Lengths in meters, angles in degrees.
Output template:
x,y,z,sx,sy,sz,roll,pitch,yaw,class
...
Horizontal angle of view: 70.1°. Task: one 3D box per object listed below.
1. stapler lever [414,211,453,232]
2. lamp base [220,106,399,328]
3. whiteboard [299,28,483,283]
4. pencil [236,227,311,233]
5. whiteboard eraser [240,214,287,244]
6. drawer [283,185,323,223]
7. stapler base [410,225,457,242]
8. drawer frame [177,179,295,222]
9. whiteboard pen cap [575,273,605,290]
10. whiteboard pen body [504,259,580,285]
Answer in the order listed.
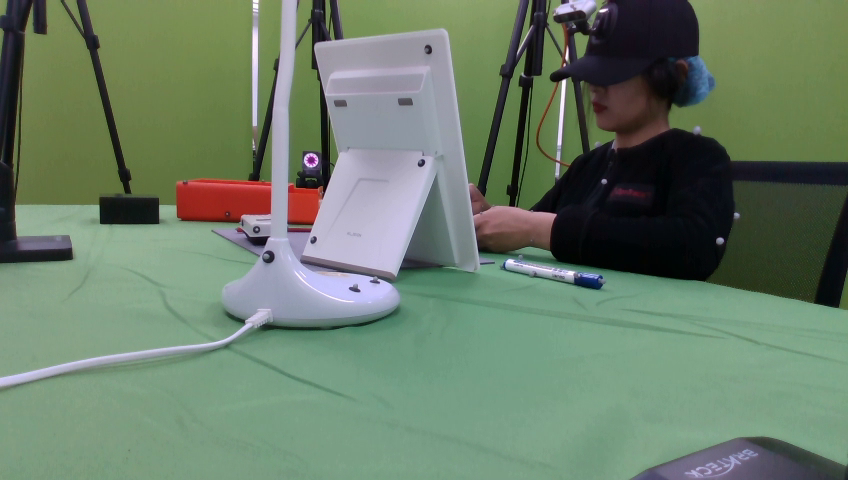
x,y,z,sx,sy,sz,roll,pitch,yaw,class
0.017,-0.038,1.128,0.027,0.040,0.117,1,6,-26,stapler lever
-0.101,-0.023,0.531,0.160,0.180,0.179,4,10,10,lamp base
-0.075,-0.082,0.741,0.216,0.305,0.144,9,30,38,whiteboard
-0.239,-0.017,1.093,0.195,0.012,0.012,1,7,-27,pencil
-0.256,-0.018,0.958,0.056,0.042,0.112,0,8,-25,whiteboard eraser
-0.329,-0.084,1.326,0.212,0.073,0.194,1,8,-7,drawer
0.017,-0.014,1.129,0.041,0.024,0.130,1,5,-26,stapler base
-0.397,-0.088,1.315,0.214,0.082,0.201,1,8,-7,drawer frame
0.197,0.048,0.719,0.018,0.018,0.033,-4,11,-41,whiteboard pen cap
0.157,0.042,0.764,0.017,0.017,0.140,-4,10,-41,whiteboard pen body
